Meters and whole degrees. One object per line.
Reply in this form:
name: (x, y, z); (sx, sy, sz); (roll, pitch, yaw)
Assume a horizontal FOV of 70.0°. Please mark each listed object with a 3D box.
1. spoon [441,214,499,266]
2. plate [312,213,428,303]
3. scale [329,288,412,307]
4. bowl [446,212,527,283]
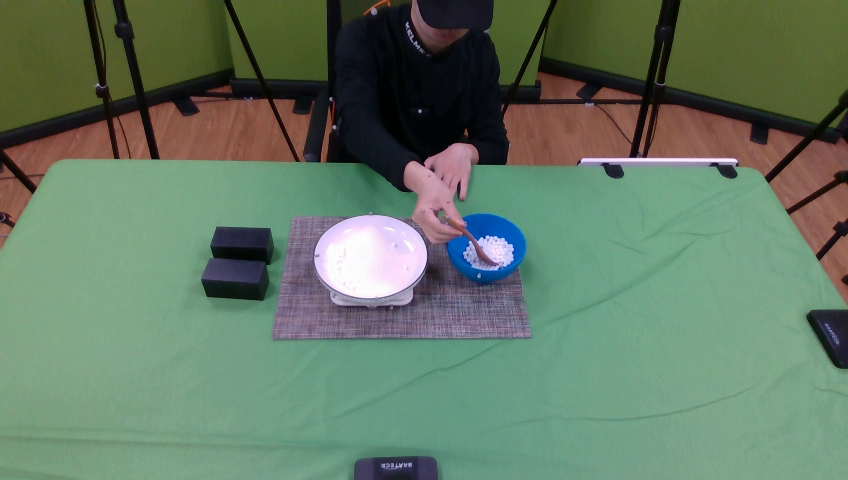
spoon: (0.082, 0.000, 1.082); (0.021, 0.195, 0.041); (-51, 45, -5)
plate: (-0.097, 0.036, 1.100); (0.209, 0.038, 0.208); (2, 46, -2)
scale: (-0.099, 0.042, 1.139); (0.149, 0.032, 0.199); (1, 46, -4)
bowl: (0.112, 0.027, 1.137); (0.151, 0.077, 0.150); (3, 46, -3)
